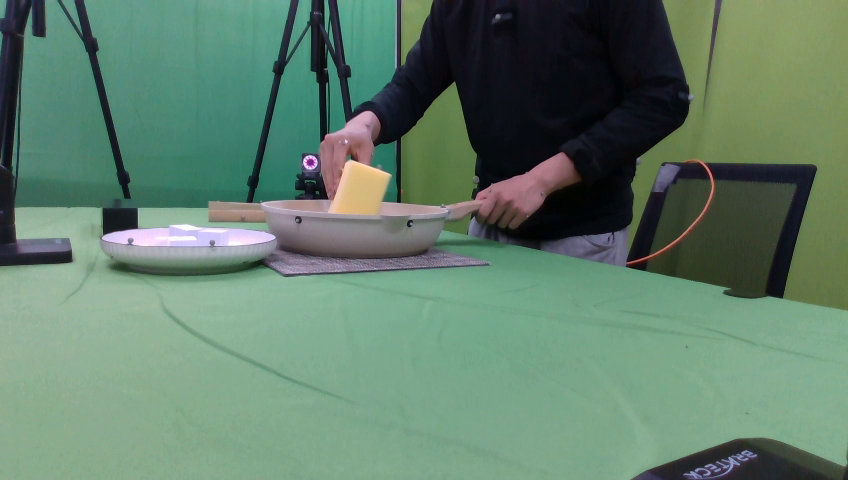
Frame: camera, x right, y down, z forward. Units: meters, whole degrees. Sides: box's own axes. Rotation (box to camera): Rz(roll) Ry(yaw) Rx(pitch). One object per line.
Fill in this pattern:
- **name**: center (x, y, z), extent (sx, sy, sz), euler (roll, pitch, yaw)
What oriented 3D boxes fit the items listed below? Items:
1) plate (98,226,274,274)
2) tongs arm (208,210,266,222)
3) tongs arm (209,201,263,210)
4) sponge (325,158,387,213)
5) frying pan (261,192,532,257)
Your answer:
- **plate**: center (-0.301, 0.012, 0.778), extent (0.208, 0.039, 0.207), euler (3, 7, 0)
- **tongs arm**: center (-0.280, -0.056, 1.354), extent (0.389, 0.028, 0.028), euler (-1, 6, -28)
- **tongs arm**: center (-0.306, -0.071, 1.429), extent (0.386, 0.026, 0.050), euler (1, 8, -15)
- **sponge**: center (-0.113, -0.058, 0.933), extent (0.061, 0.118, 0.206), euler (19, 2, -11)
- **frying pan**: center (-0.016, -0.044, 1.006), extent (0.490, 0.102, 0.305), euler (-11, 13, -26)
